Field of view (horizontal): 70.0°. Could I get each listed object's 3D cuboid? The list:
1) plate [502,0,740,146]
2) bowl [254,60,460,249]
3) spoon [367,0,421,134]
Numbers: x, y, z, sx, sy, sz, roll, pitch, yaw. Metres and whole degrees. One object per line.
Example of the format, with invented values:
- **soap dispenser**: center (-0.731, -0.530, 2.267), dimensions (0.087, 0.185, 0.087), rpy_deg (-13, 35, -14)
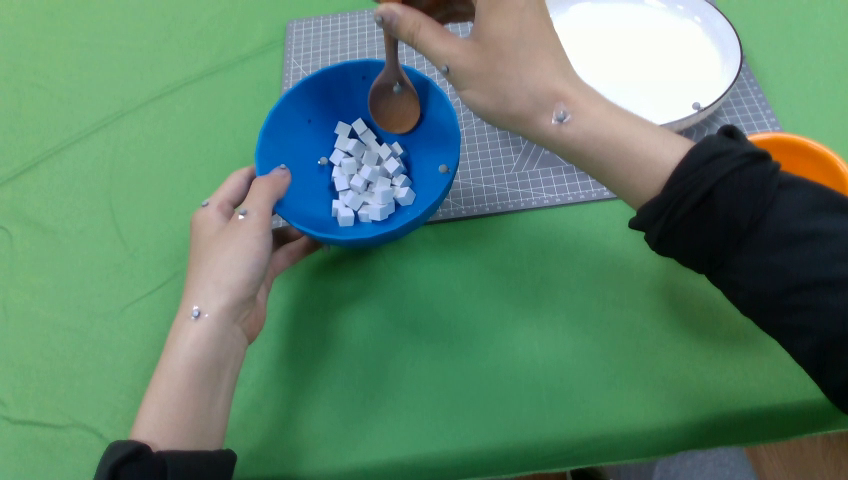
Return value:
- **plate**: center (0.177, -0.163, 0.564), dimensions (0.209, 0.038, 0.207), rpy_deg (-3, 57, 6)
- **bowl**: center (-0.044, -0.053, 0.467), dimensions (0.151, 0.077, 0.150), rpy_deg (-2, 67, 6)
- **spoon**: center (-0.020, -0.125, 0.393), dimensions (0.041, 0.195, 0.021), rpy_deg (13, 71, 2)
